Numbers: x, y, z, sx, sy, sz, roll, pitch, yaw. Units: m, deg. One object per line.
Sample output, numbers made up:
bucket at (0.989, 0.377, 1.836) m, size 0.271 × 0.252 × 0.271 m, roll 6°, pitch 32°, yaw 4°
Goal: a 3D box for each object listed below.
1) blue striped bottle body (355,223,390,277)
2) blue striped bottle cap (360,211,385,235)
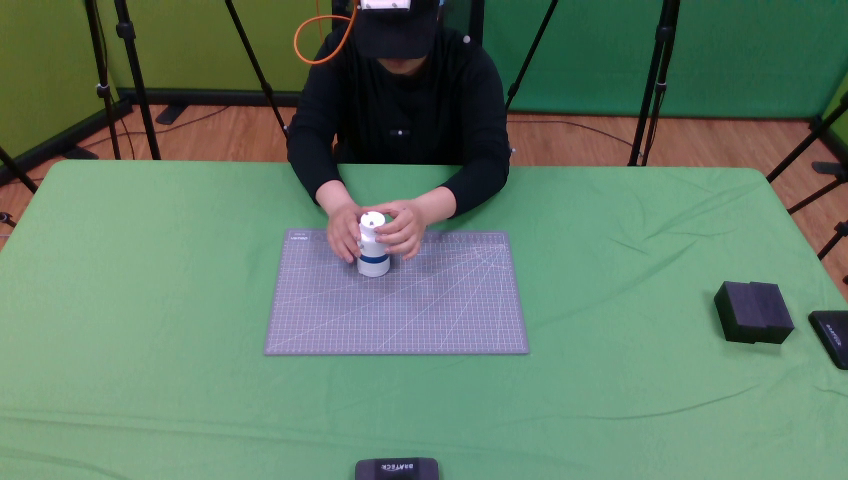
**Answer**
blue striped bottle body at (-0.094, 0.007, 1.112) m, size 0.063 × 0.121 × 0.062 m, roll 2°, pitch 46°, yaw -2°
blue striped bottle cap at (-0.091, -0.030, 1.074) m, size 0.044 × 0.021 × 0.044 m, roll 1°, pitch 47°, yaw -1°
